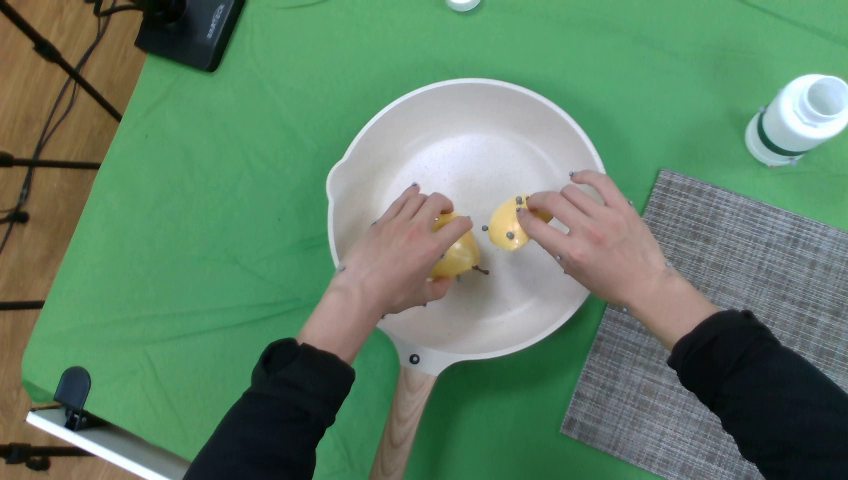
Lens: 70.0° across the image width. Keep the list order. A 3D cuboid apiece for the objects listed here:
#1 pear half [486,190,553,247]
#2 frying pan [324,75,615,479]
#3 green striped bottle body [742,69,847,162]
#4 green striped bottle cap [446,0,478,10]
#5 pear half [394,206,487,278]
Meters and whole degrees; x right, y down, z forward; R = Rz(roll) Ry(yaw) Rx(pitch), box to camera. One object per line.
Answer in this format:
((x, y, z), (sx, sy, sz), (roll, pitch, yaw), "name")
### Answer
((0.088, -0.028, 0.594), (0.070, 0.087, 0.031), (-24, 109, 26), "pear half")
((0.011, 0.071, 0.623), (0.306, 0.103, 0.486), (17, 78, 11), "frying pan")
((0.359, -0.120, 0.583), (0.063, 0.120, 0.063), (-1, 82, 9), "green striped bottle body")
((0.044, -0.292, 0.704), (0.044, 0.020, 0.044), (-1, 82, 10), "green striped bottle cap")
((0.016, 0.007, 0.628), (0.109, 0.056, 0.076), (27, 107, 32), "pear half")
